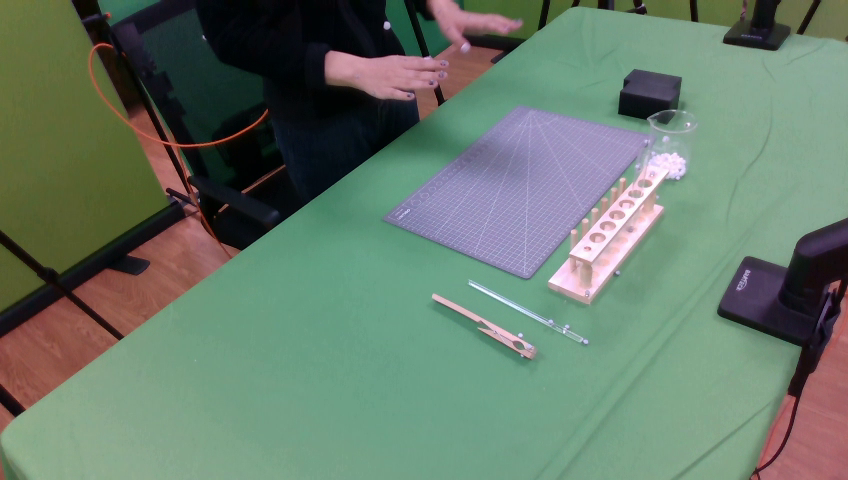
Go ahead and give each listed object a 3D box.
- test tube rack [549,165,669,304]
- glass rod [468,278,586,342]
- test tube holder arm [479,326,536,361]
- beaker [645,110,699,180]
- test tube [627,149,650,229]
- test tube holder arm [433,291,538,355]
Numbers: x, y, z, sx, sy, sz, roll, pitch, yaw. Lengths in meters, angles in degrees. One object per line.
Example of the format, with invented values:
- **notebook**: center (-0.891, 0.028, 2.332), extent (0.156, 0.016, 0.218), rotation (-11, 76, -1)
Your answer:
- **test tube rack**: center (0.279, -0.018, 0.902), extent (0.066, 0.085, 0.243), rotation (24, 50, 33)
- **glass rod**: center (0.140, 0.096, 0.853), extent (0.198, 0.008, 0.008), rotation (27, 52, 35)
- **test tube holder arm**: center (0.110, 0.134, 0.805), extent (0.087, 0.015, 0.010), rotation (29, 83, 36)
- **beaker**: center (0.417, -0.160, 1.032), extent (0.083, 0.101, 0.074), rotation (25, 51, 35)
- **test tube**: center (0.311, -0.071, 0.881), extent (0.017, 0.151, 0.017), rotation (-5, 47, 5)
- **test tube holder arm**: center (0.081, 0.112, 0.832), extent (0.177, 0.015, 0.013), rotation (29, 82, 36)
